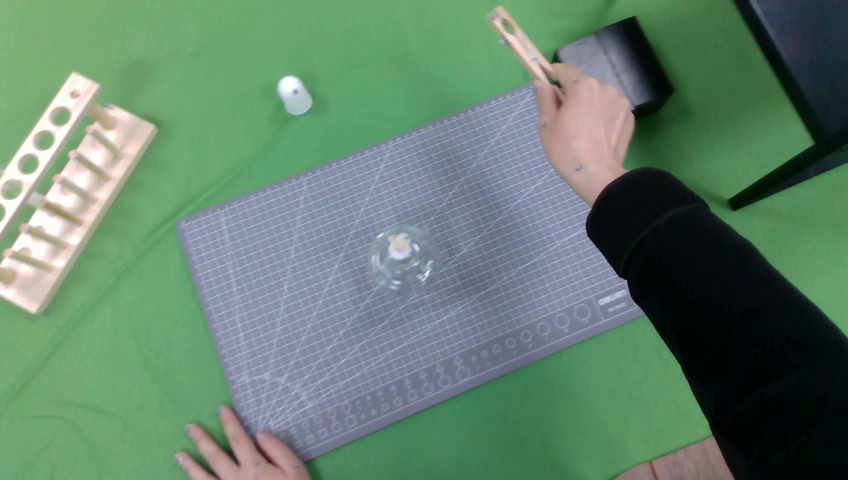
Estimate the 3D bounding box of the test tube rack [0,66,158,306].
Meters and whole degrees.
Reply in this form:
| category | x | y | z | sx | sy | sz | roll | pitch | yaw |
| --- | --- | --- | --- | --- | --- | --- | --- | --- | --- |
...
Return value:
| category | x | y | z | sx | sy | sz | roll | pitch | yaw |
| --- | --- | --- | --- | --- | --- | --- | --- | --- | --- |
| test tube rack | -0.396 | -0.055 | 0.651 | 0.066 | 0.085 | 0.241 | 26 | 79 | 6 |

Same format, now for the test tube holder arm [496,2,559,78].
| category | x | y | z | sx | sy | sz | roll | pitch | yaw |
| --- | --- | --- | --- | --- | --- | --- | --- | --- | --- |
| test tube holder arm | 0.098 | -0.188 | 0.574 | 0.010 | 0.015 | 0.087 | -36 | 84 | -1 |

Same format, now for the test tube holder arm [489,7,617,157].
| category | x | y | z | sx | sy | sz | roll | pitch | yaw |
| --- | --- | --- | --- | --- | --- | --- | --- | --- | --- |
| test tube holder arm | 0.120 | -0.149 | 0.570 | 0.013 | 0.015 | 0.178 | -37 | 85 | -1 |

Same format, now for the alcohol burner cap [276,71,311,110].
| category | x | y | z | sx | sy | sz | roll | pitch | yaw |
| --- | --- | --- | --- | --- | --- | --- | --- | --- | --- |
| alcohol burner cap | -0.153 | -0.176 | 0.697 | 0.034 | 0.048 | 0.033 | -1 | 75 | 5 |

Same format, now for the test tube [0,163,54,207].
| category | x | y | z | sx | sy | sz | roll | pitch | yaw |
| --- | --- | --- | --- | --- | --- | --- | --- | --- | --- |
| test tube | -0.416 | -0.065 | 0.603 | 0.017 | 0.151 | 0.017 | 0 | 73 | 0 |

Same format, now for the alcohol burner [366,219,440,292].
| category | x | y | z | sx | sy | sz | roll | pitch | yaw |
| --- | --- | --- | --- | --- | --- | --- | --- | --- | --- |
| alcohol burner | -0.023 | 0.012 | 0.620 | 0.078 | 0.119 | 0.077 | 0 | 76 | 2 |
